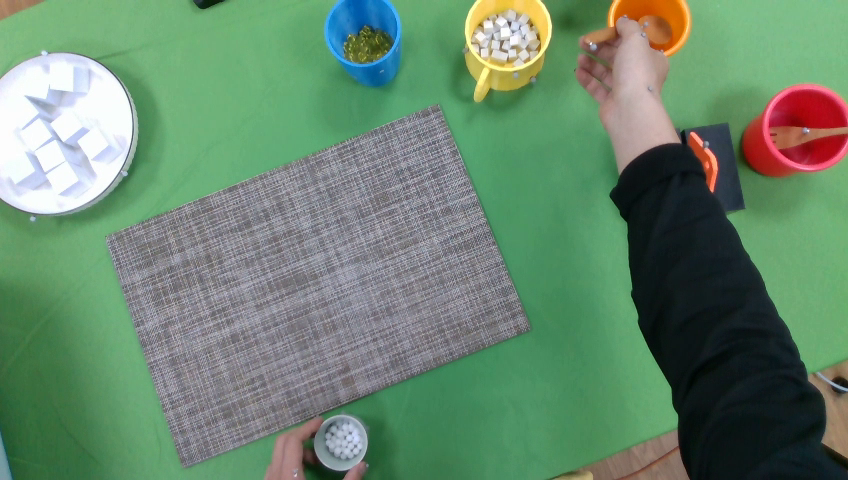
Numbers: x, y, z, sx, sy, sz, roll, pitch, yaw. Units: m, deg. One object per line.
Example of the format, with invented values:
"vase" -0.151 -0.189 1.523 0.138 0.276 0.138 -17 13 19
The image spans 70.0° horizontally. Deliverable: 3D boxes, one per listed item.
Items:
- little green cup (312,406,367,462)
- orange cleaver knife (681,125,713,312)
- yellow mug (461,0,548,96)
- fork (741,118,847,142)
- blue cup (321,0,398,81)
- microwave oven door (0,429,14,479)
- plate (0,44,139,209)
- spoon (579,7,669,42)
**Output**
"little green cup" -0.096 0.225 0.708 0.061 0.039 0.061 -1 84 7
"orange cleaver knife" 0.305 -0.021 0.683 0.012 0.076 0.213 -7 114 5
"yellow mug" 0.087 -0.232 0.722 0.100 0.064 0.130 26 88 5
"fork" 0.454 -0.126 0.652 0.206 0.019 0.028 3 81 46
"blue cup" -0.069 -0.233 0.714 0.092 0.100 0.092 0 86 2
"microwave oven door" -0.519 0.260 0.608 0.039 0.244 0.354 -19 84 2
"plate" -0.455 -0.139 0.759 0.207 0.039 0.207 0 85 3
"spoon" 0.216 -0.230 0.648 0.021 0.194 0.041 -37 81 44
